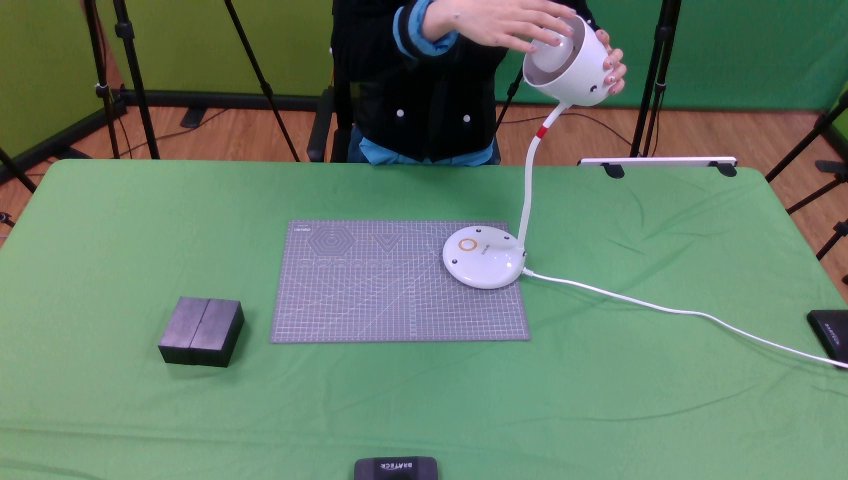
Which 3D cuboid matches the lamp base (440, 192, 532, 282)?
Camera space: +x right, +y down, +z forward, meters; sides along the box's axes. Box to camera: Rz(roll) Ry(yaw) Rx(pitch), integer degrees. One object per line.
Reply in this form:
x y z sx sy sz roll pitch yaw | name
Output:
0.127 -0.032 1.123 0.179 0.181 0.159 11 47 2 | lamp base

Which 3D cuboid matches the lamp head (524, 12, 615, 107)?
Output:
0.221 -0.248 0.886 0.112 0.123 0.111 -25 47 29 | lamp head

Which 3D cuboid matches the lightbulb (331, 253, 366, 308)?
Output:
-0.131 0.074 1.094 0.059 0.060 0.107 -15 64 -18 | lightbulb
